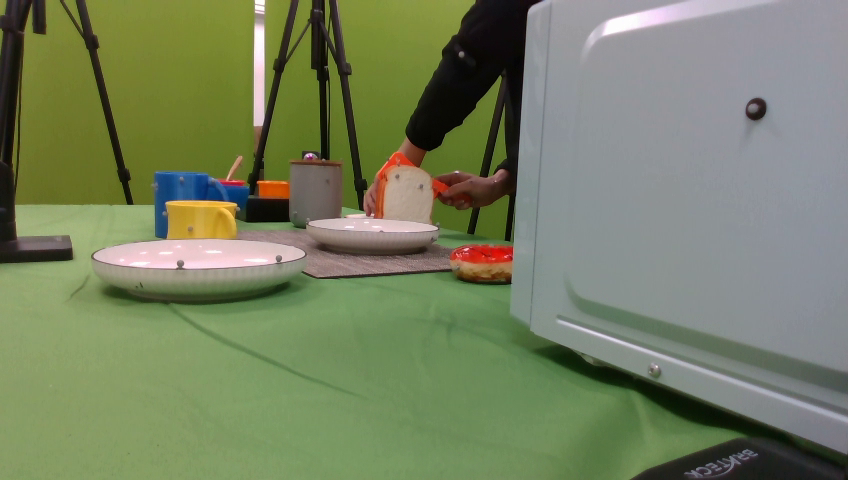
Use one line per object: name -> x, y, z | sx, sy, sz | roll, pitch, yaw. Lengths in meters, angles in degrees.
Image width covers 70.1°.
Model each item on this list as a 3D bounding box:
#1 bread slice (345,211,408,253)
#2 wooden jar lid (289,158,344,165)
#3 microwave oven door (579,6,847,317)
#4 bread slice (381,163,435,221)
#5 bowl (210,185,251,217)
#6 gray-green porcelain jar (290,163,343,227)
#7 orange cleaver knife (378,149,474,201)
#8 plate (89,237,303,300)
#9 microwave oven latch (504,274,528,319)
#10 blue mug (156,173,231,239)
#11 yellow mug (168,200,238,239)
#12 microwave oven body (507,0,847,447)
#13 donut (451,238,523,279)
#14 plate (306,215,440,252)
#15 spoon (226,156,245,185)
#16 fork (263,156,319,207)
bread slice -> -0.104, -0.019, 1.254 | 0.105, 0.019, 0.131 | -12, 36, -21
wooden jar lid -> -0.215, -0.153, 1.212 | 0.108, 0.020, 0.108 | 2, 5, 0
microwave oven door -> 0.294, -0.067, 0.570 | 0.358, 0.243, 0.039 | -3, 9, -31
bread slice -> -0.032, -0.075, 1.119 | 0.107, 0.134, 0.018 | -2, 6, -24
bowl -> -0.408, -0.064, 1.154 | 0.151, 0.077, 0.151 | 2, 8, 0
gray-green porcelain jar -> -0.217, -0.091, 1.221 | 0.106, 0.126, 0.106 | 2, 7, 0
orange cleaver knife -> 0.006, -0.107, 1.186 | 0.212, 0.077, 0.012 | 25, -6, -28
plate -> -0.233, 0.029, 0.637 | 0.208, 0.039, 0.207 | 2, 7, 0
microwave oven latch -> 0.100, 0.041, 0.471 | 0.079, 0.029, 0.030 | -1, 8, -28
blue mug -> -0.381, -0.057, 1.004 | 0.117, 0.106, 0.082 | 1, 8, -12
yellow mug -> -0.320, -0.023, 0.904 | 0.130, 0.064, 0.100 | 9, 11, 36
microwave oven body -> 0.331, -0.042, 0.425 | 0.444, 0.260, 0.324 | -2, 8, -31
donut -> 0.083, 0.022, 0.745 | 0.099, 0.048, 0.099 | 1, 5, 0
plate -> -0.079, -0.011, 0.950 | 0.209, 0.038, 0.209 | 2, 8, 0
spoon -> -0.477, -0.145, 1.492 | 0.041, 0.022, 0.193 | 1, 51, 12
fork -> -0.331, -0.144, 1.505 | 0.207, 0.018, 0.028 | -42, -20, 22
